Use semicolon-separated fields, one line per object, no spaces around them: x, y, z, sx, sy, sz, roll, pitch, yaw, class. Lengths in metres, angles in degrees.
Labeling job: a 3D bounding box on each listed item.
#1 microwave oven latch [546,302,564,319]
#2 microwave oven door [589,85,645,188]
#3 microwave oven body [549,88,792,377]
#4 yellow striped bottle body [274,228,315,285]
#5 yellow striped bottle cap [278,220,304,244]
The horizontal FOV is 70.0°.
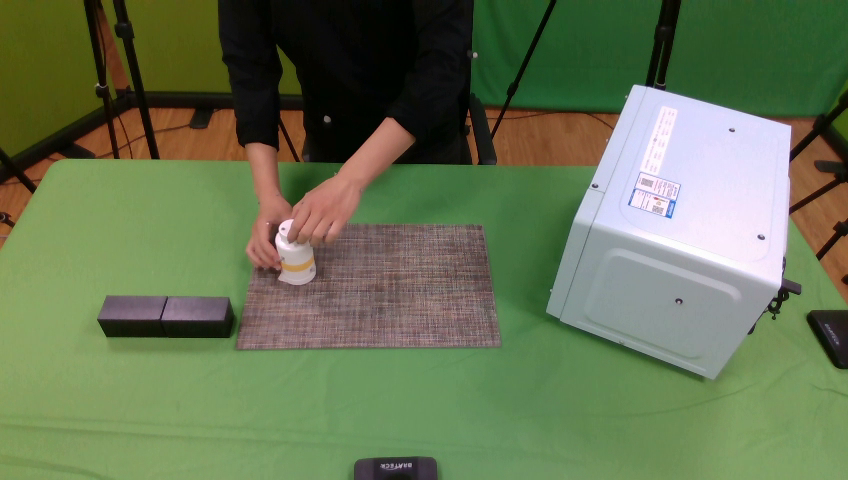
0.242;0.102;1.081;0.030;0.029;0.079;22;48;17;microwave oven latch
0.341;-0.107;1.148;0.039;0.245;0.354;20;48;15;microwave oven door
0.456;-0.028;1.088;0.325;0.261;0.440;20;47;16;microwave oven body
-0.232;0.021;1.084;0.063;0.121;0.062;2;46;-2;yellow striped bottle body
-0.230;-0.015;1.047;0.044;0.019;0.044;3;44;-3;yellow striped bottle cap
